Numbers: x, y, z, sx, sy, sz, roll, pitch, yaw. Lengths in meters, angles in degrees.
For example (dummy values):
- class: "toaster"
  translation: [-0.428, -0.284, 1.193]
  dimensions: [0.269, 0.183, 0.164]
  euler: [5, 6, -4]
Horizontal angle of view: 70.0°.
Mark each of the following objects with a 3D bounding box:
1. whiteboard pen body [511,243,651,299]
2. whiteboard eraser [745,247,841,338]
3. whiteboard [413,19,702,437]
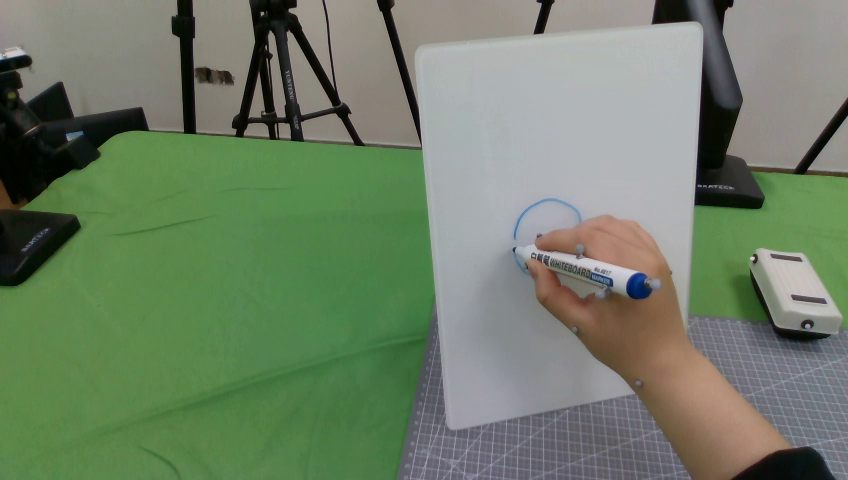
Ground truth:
- class: "whiteboard pen body"
  translation: [0.093, 0.016, 0.394]
  dimensions: [0.017, 0.017, 0.140]
  euler: [-16, 14, -20]
- class: "whiteboard eraser"
  translation: [0.363, 0.052, 0.604]
  dimensions: [0.055, 0.042, 0.112]
  euler: [5, 33, 10]
- class: "whiteboard"
  translation: [0.097, -0.019, 0.528]
  dimensions: [0.218, 0.307, 0.142]
  euler: [-8, 18, -10]
